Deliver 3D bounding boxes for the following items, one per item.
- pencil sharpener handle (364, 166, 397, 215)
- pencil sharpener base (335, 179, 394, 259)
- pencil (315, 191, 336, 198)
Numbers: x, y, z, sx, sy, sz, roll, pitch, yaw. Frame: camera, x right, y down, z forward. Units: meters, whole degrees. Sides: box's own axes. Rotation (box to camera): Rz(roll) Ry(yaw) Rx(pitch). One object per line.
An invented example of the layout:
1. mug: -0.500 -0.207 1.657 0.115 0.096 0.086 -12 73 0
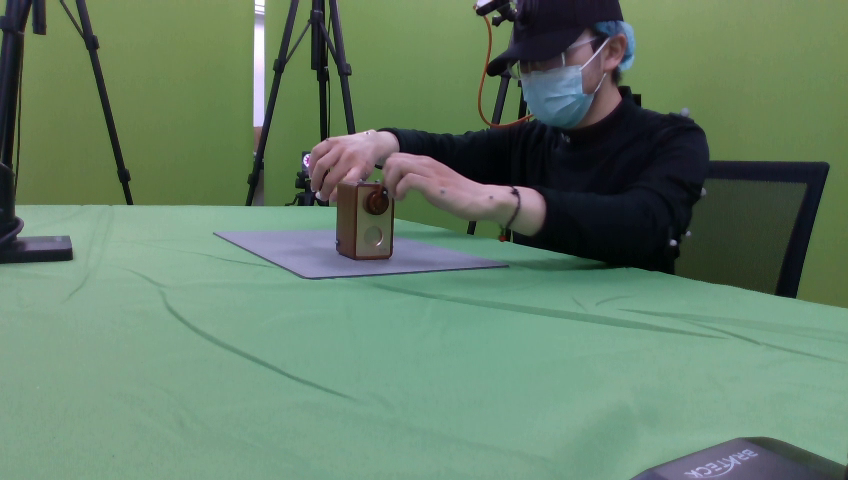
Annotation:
1. pencil sharpener handle: -0.054 -0.066 0.806 0.036 0.067 0.030 11 2 -31
2. pencil sharpener base: -0.084 -0.030 0.854 0.061 0.107 0.076 -1 9 -30
3. pencil: -0.135 -0.069 0.946 0.012 0.012 0.193 -2 7 -29
